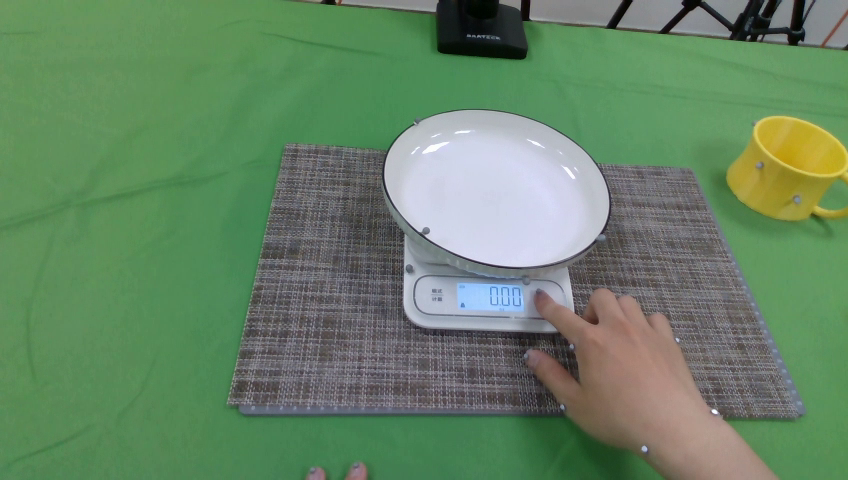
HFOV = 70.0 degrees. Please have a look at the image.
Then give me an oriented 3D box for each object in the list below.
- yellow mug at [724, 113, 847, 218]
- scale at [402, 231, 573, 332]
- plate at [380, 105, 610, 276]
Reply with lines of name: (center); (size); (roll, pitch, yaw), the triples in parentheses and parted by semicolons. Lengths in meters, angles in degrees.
yellow mug: (0.401, -0.073, 0.649); (0.130, 0.064, 0.100); (40, 56, 24)
scale: (0.055, -0.007, 0.564); (0.149, 0.032, 0.199); (4, 49, -5)
plate: (0.063, -0.047, 0.555); (0.209, 0.038, 0.207); (4, 49, -5)
